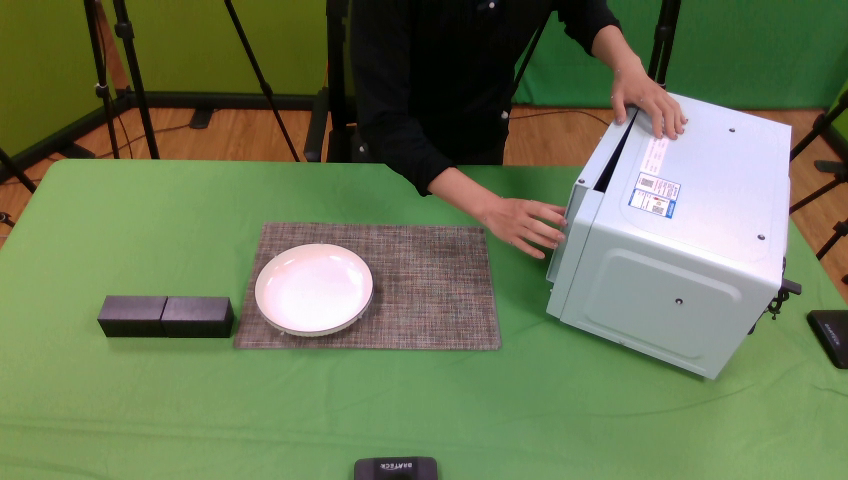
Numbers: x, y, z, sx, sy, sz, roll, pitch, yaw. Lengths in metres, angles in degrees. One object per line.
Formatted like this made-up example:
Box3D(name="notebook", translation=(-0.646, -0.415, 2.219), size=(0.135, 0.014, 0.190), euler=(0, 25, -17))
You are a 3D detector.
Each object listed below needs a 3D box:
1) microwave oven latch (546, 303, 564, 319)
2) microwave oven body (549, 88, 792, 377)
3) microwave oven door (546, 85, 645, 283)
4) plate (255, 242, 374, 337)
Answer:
Box3D(name="microwave oven latch", translation=(0.242, 0.102, 1.081), size=(0.030, 0.029, 0.079), euler=(22, 48, 17))
Box3D(name="microwave oven body", translation=(0.456, -0.028, 1.088), size=(0.325, 0.261, 0.440), euler=(20, 47, 16))
Box3D(name="microwave oven door", translation=(0.332, -0.111, 1.152), size=(0.039, 0.245, 0.355), euler=(23, 49, 18))
Box3D(name="plate", translation=(-0.192, 0.090, 1.079), size=(0.208, 0.039, 0.206), euler=(2, 46, -2))
